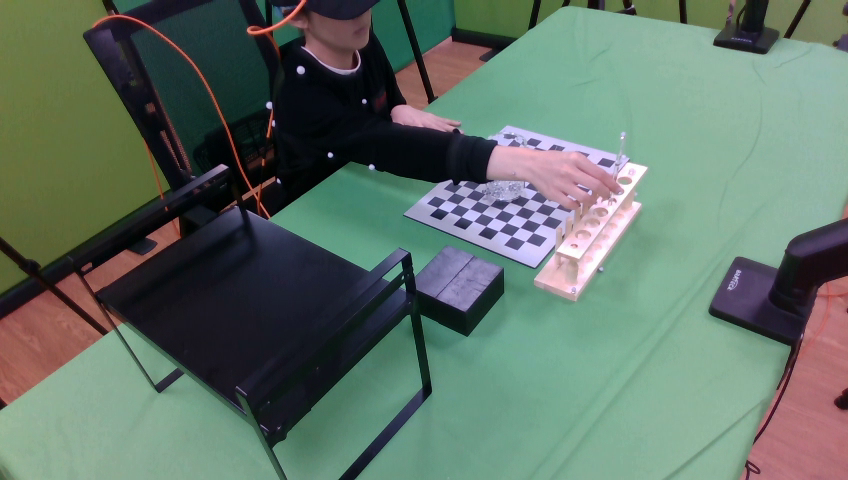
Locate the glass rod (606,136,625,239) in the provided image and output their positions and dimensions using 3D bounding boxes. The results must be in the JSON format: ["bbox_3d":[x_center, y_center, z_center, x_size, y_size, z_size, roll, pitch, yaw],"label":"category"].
[{"bbox_3d":[0.273,-0.069,0.864,0.008,0.201,0.008,-5,48,6],"label":"glass rod"}]

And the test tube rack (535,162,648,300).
[{"bbox_3d":[0.257,-0.024,0.916,0.066,0.085,0.243,22,49,30],"label":"test tube rack"}]

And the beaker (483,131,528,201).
[{"bbox_3d":[0.143,-0.126,1.036,0.073,0.101,0.084,24,49,31],"label":"beaker"}]
